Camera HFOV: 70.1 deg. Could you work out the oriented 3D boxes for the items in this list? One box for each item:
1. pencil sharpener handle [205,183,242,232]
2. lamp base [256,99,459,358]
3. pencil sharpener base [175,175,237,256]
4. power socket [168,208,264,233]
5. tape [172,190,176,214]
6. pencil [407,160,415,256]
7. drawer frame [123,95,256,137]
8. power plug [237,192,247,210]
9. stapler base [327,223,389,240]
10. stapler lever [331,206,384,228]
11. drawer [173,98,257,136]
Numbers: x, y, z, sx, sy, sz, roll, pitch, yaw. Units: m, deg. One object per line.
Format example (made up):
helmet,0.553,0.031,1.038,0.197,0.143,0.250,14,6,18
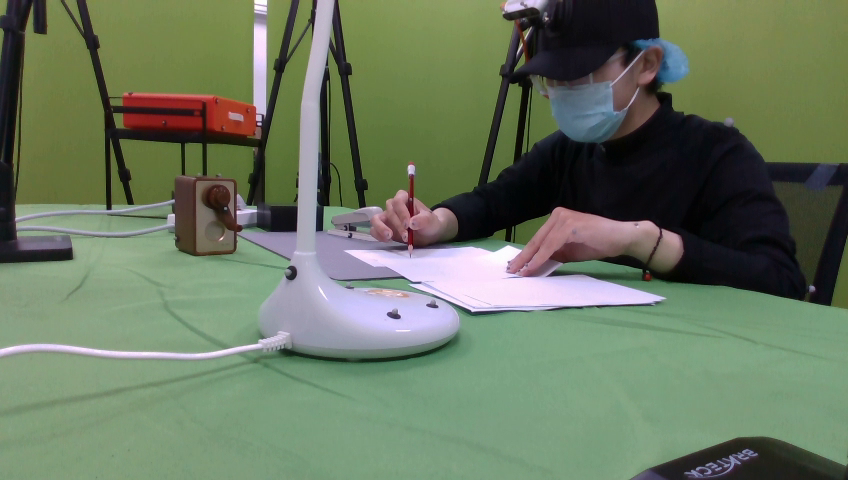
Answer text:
pencil sharpener handle,-0.265,-0.043,0.813,0.036,0.068,0.030,-32,28,-35
lamp base,-0.055,-0.013,0.463,0.160,0.180,0.180,6,11,27
pencil sharpener base,-0.304,-0.035,0.847,0.062,0.107,0.076,-4,10,-42
power socket,-0.381,-0.038,1.129,0.072,0.032,0.227,4,8,17
tape,-0.515,-0.087,1.388,0.117,0.052,0.117,3,7,0
pencil,-0.019,-0.053,0.923,0.012,0.012,0.193,2,51,-4
drawer frame,-0.524,-0.280,1.376,0.213,0.082,0.202,3,8,8
power plug,-0.386,-0.071,1.204,0.072,0.052,0.035,7,9,26
stapler base,-0.118,-0.018,1.072,0.130,0.024,0.041,7,8,41
stapler lever,-0.119,-0.043,1.070,0.117,0.040,0.027,7,8,41
drawer,-0.518,-0.279,1.376,0.211,0.073,0.195,3,8,10
